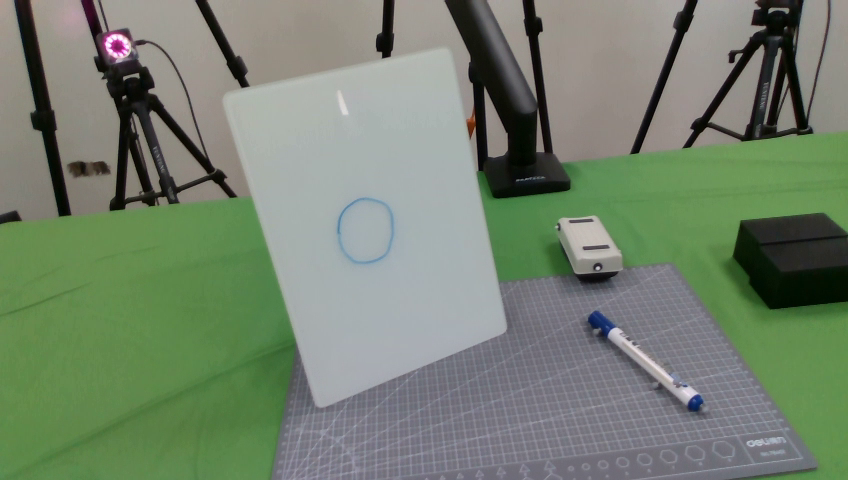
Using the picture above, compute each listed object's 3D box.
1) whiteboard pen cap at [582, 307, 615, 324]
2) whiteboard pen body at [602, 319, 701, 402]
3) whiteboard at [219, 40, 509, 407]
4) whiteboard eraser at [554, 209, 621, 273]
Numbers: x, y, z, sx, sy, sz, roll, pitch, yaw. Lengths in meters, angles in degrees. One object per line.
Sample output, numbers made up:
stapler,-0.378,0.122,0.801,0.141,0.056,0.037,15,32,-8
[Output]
whiteboard pen cap,0.185,0.080,0.641,0.033,0.018,0.018,5,34,19
whiteboard pen body,0.214,0.109,0.594,0.017,0.017,0.139,-19,35,-19
whiteboard,-0.064,-0.026,0.638,0.217,0.307,0.143,-19,16,-18
whiteboard eraser,0.199,0.001,0.746,0.055,0.042,0.111,-7,29,1
